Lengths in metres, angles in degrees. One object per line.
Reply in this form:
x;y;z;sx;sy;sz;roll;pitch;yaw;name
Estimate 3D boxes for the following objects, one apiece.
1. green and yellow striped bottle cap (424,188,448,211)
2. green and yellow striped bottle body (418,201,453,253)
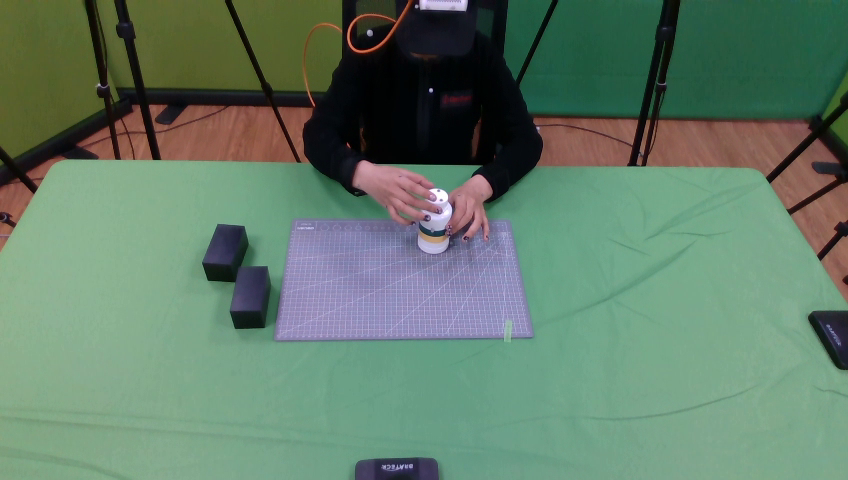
0.022;-0.076;1.119;0.045;0.020;0.045;4;45;-3;green and yellow striped bottle cap
0.022;-0.036;1.160;0.063;0.120;0.063;2;46;-2;green and yellow striped bottle body
